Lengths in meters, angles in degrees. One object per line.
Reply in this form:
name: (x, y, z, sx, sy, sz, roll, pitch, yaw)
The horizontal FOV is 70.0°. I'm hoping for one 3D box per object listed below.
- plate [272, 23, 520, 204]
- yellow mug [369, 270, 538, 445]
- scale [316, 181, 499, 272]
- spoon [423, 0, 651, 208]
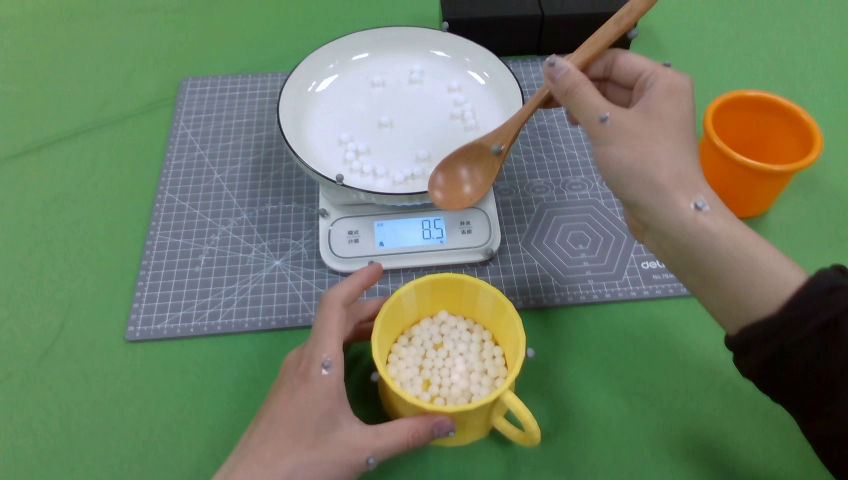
plate: (-0.023, -0.109, 0.522, 0.209, 0.038, 0.207, 1, 55, 0)
yellow mug: (0.026, 0.088, 0.409, 0.100, 0.064, 0.130, -40, 65, -23)
scale: (-0.020, -0.067, 0.532, 0.149, 0.032, 0.199, -5, 56, -3)
spoon: (0.072, -0.091, 0.392, 0.194, 0.022, 0.041, -44, 69, 22)
